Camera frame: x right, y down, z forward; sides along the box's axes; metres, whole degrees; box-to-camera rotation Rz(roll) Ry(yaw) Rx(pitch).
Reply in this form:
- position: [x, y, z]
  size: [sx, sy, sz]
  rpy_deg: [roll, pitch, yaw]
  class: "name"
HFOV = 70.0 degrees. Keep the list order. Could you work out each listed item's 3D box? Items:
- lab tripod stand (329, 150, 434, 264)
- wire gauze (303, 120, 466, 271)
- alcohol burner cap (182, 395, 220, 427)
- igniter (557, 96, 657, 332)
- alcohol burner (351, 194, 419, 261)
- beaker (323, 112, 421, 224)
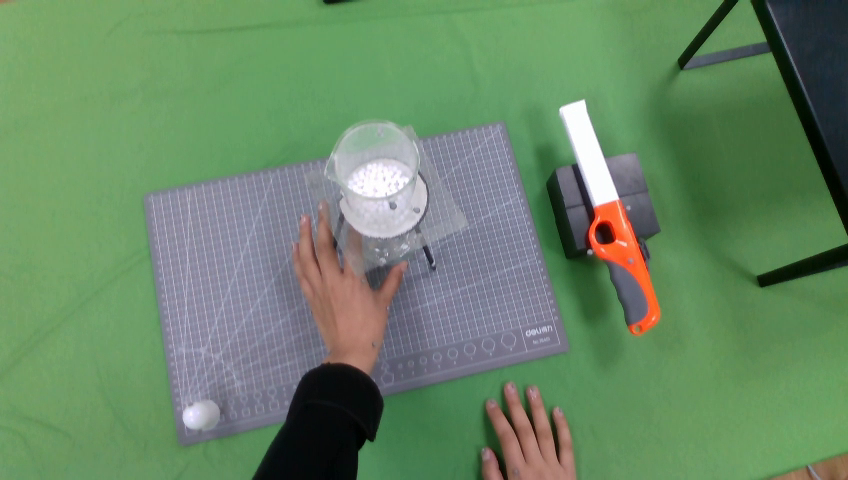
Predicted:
- position: [-0.043, -0.037, 0.665]
  size: [0.148, 0.132, 0.147]
  rpy_deg: [0, 75, -1]
  class: "lab tripod stand"
- position: [-0.040, -0.045, 0.599]
  size: [0.125, 0.011, 0.121]
  rpy_deg: [-25, 80, -10]
  class: "wire gauze"
- position: [-0.243, 0.184, 0.652]
  size: [0.034, 0.048, 0.033]
  rpy_deg: [0, 75, 0]
  class: "alcohol burner cap"
- position: [0.206, -0.034, 0.685]
  size: [0.057, 0.025, 0.275]
  rpy_deg: [-16, 77, 5]
  class: "igniter"
- position: [-0.043, -0.018, 0.671]
  size: [0.078, 0.119, 0.077]
  rpy_deg: [1, 79, -3]
  class: "alcohol burner"
- position: [-0.045, -0.059, 0.553]
  size: [0.084, 0.100, 0.073]
  rpy_deg: [-14, 76, -5]
  class: "beaker"
